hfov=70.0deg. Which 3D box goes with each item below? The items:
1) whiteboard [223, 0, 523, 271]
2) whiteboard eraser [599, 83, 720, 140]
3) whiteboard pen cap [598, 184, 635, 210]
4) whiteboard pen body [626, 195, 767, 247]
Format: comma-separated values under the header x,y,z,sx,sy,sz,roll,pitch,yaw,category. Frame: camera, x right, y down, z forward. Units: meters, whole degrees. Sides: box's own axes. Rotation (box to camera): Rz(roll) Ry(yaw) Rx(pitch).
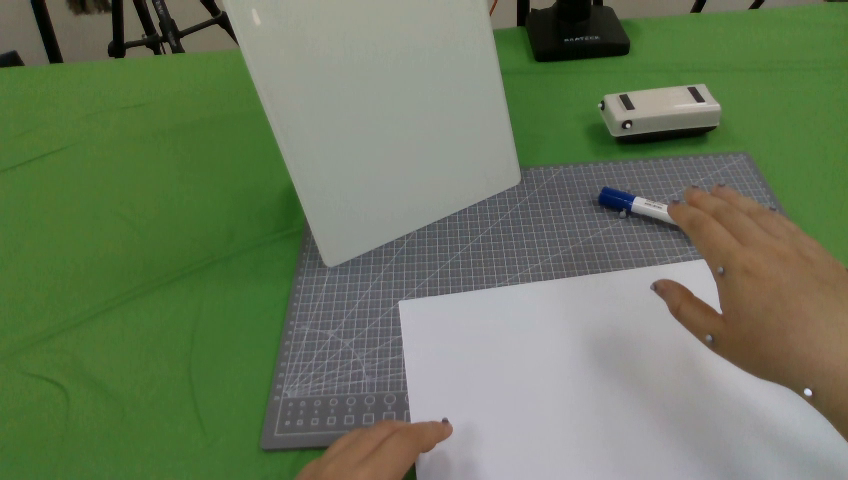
x,y,z,sx,sy,sz,roll,pitch,yaw,category
-0.059,-0.167,0.565,0.217,0.308,0.142,-24,28,-16,whiteboard
0.249,-0.136,0.644,0.113,0.042,0.055,-5,47,0,whiteboard eraser
0.182,-0.039,0.569,0.033,0.018,0.018,23,52,23,whiteboard pen cap
0.230,-0.021,0.543,0.140,0.017,0.017,20,51,25,whiteboard pen body
